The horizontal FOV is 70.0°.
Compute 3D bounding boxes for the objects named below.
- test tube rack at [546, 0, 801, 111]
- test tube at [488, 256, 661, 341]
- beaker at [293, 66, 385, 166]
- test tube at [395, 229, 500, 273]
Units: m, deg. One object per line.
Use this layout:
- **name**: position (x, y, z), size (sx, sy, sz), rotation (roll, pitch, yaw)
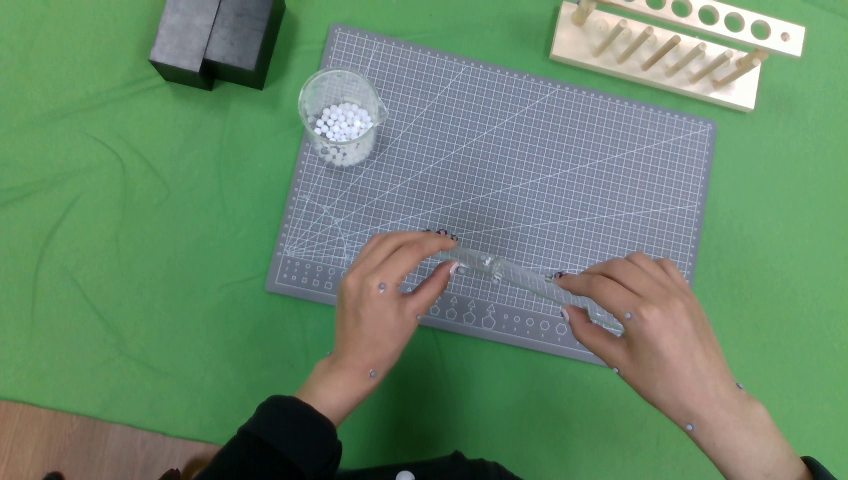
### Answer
- **test tube rack**: position (0.267, -0.216, 0.661), size (0.243, 0.085, 0.066), rotation (14, 82, -4)
- **test tube**: position (0.121, 0.048, 0.482), size (0.151, 0.017, 0.017), rotation (23, 81, -4)
- **beaker**: position (-0.082, -0.118, 0.602), size (0.084, 0.100, 0.074), rotation (5, 83, -6)
- **test tube**: position (0.015, 0.008, 0.541), size (0.017, 0.149, 0.017), rotation (-7, 103, -32)
